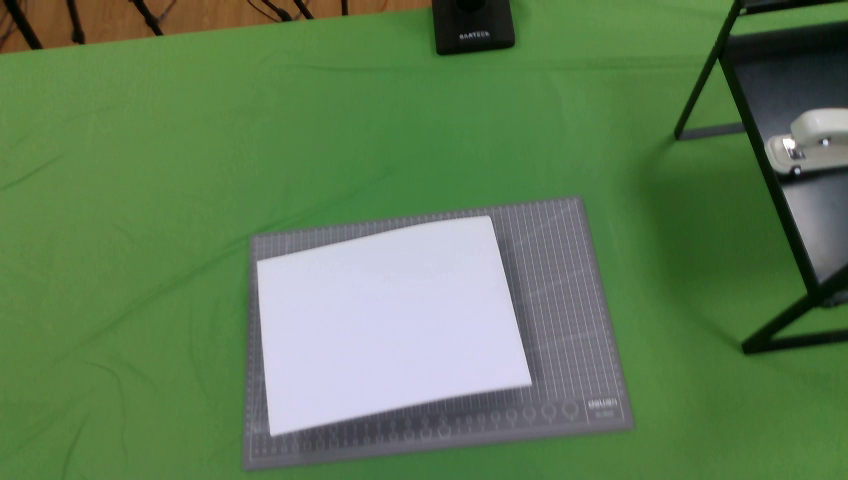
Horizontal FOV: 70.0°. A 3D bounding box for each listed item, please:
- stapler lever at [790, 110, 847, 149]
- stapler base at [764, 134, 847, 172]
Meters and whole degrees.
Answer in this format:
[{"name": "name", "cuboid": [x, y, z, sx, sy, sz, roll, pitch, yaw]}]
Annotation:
[{"name": "stapler lever", "cuboid": [0.409, -0.108, 0.576, 0.118, 0.040, 0.026, -7, 68, 0]}, {"name": "stapler base", "cuboid": [0.409, -0.097, 0.599, 0.130, 0.024, 0.041, -7, 68, 0]}]
